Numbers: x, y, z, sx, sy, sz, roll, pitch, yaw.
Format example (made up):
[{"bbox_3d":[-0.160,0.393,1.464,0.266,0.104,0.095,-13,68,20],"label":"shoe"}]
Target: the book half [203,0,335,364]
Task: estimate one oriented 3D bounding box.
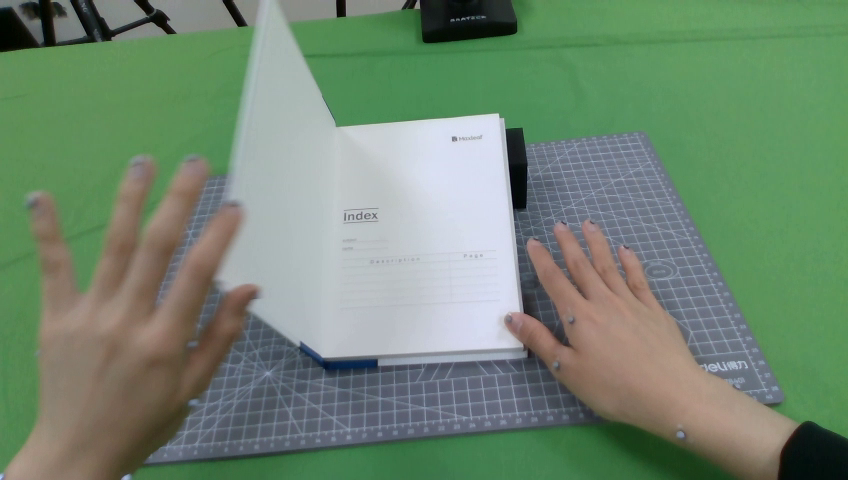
[{"bbox_3d":[-0.091,-0.037,0.404,0.007,0.144,0.208,-7,62,12],"label":"book half"}]
